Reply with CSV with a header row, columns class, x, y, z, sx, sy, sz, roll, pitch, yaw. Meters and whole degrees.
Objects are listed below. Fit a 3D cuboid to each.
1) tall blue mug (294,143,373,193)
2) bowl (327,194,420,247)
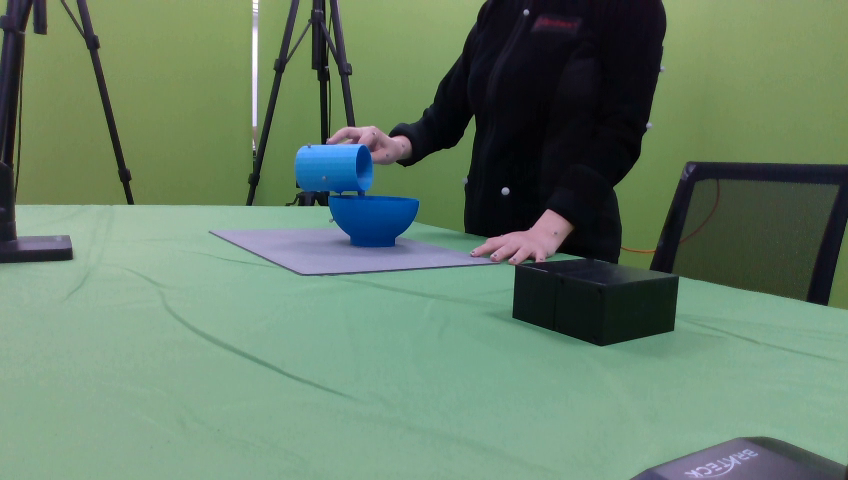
class,x,y,z,sx,sy,sz,roll,pitch,yaw
tall blue mug,-0.145,-0.131,1.008,0.108,0.107,0.078,1,-38,17
bowl,-0.083,-0.032,0.988,0.151,0.077,0.151,2,7,0
